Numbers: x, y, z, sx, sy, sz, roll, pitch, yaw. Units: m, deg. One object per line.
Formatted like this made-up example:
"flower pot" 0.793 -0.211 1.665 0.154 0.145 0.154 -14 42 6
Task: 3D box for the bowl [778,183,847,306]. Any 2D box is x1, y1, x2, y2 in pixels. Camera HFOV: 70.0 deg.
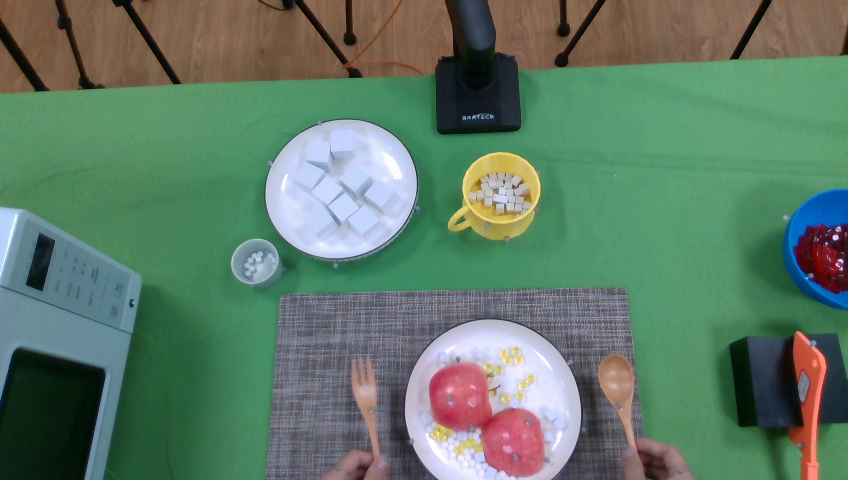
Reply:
"bowl" 0.499 0.015 0.739 0.151 0.077 0.150 -1 72 3

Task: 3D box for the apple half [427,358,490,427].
"apple half" 0.039 0.178 0.712 0.074 0.054 0.080 -4 72 5

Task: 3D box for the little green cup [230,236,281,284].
"little green cup" -0.219 0.029 0.795 0.061 0.039 0.061 -1 74 4

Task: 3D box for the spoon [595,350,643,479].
"spoon" 0.226 0.219 0.675 0.041 0.022 0.192 -5 66 -1

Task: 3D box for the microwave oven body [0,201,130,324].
"microwave oven body" -0.549 0.200 0.636 0.326 0.262 0.439 2 72 3

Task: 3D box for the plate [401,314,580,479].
"plate" 0.077 0.193 0.722 0.209 0.038 0.208 -1 72 3

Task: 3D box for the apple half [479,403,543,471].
"apple half" 0.101 0.228 0.702 0.081 0.033 0.080 -2 70 5

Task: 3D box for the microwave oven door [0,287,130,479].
"microwave oven door" -0.406 0.244 0.609 0.039 0.245 0.353 1 72 4

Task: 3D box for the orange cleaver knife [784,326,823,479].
"orange cleaver knife" 0.422 0.205 0.679 0.012 0.077 0.211 -1 95 7

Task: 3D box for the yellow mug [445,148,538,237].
"yellow mug" 0.083 -0.053 0.792 0.131 0.064 0.099 -32 72 -7

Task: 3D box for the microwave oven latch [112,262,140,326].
"microwave oven latch" -0.386 0.068 0.773 0.030 0.030 0.078 4 73 4

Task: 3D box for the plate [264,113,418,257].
"plate" -0.110 -0.073 0.824 0.207 0.039 0.206 -1 72 3

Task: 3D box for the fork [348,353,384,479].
"fork" -0.060 0.230 0.686 0.028 0.018 0.205 6 61 -39
